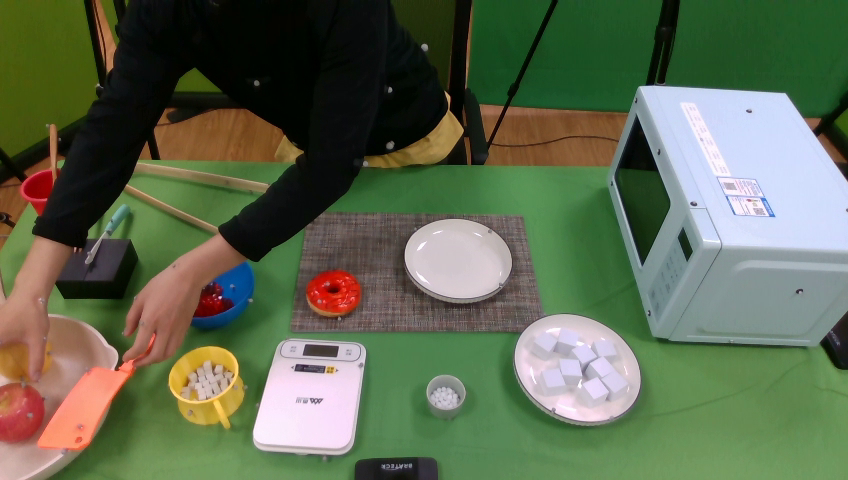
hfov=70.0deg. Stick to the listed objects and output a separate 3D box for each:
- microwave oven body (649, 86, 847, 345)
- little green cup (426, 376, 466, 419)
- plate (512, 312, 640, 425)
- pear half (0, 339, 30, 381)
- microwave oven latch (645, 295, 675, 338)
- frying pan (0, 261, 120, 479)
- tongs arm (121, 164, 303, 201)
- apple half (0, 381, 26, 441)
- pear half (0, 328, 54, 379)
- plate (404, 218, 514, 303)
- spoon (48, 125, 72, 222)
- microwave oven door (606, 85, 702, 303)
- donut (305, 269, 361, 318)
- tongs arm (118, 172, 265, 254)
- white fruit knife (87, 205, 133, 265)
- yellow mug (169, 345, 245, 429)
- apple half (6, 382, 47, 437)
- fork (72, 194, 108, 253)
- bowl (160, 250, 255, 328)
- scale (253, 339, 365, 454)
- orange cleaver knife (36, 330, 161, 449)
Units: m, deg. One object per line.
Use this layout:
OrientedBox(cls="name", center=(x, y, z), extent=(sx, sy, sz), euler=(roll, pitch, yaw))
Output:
OrientedBox(cls="microwave oven body", center=(0.567, -0.053, 1.118), extent=(0.326, 0.261, 0.439), euler=(2, 45, -1))
OrientedBox(cls="little green cup", center=(0.033, 0.248, 0.950), extent=(0.061, 0.039, 0.061), euler=(2, 46, -2))
OrientedBox(cls="plate", center=(0.246, 0.213, 0.999), extent=(0.208, 0.039, 0.206), euler=(2, 46, -2))
OrientedBox(cls="pear half", center=(-0.634, 0.187, 0.920), extent=(0.070, 0.088, 0.031), euler=(29, 51, 20))
OrientedBox(cls="microwave oven latch", center=(0.411, 0.134, 1.061), extent=(0.030, 0.029, 0.078), euler=(3, 45, 0))
OrientedBox(cls="frying pan", center=(-0.647, 0.164, 0.936), extent=(0.307, 0.103, 0.485), euler=(-19, 58, -22))
OrientedBox(cls="tongs arm", center=(-0.443, -0.114, 1.266), extent=(0.384, 0.026, 0.050), euler=(12, 50, 8))
OrientedBox(cls="apple half", center=(-0.604, 0.250, 0.871), extent=(0.053, 0.075, 0.080), euler=(-9, 50, -6))
OrientedBox(cls="pear half", center=(-0.611, 0.160, 0.931), extent=(0.076, 0.110, 0.056), euler=(30, 54, 20))
OrientedBox(cls="plate", center=(0.065, 0.042, 1.146), extent=(0.209, 0.038, 0.208), euler=(2, 46, -2))
OrientedBox(cls="spoon", center=(-0.718, -0.131, 1.188), extent=(0.041, 0.021, 0.193), euler=(-4, 90, -7))
OrientedBox(cls="microwave oven door", center=(0.422, -0.094, 1.140), extent=(0.039, 0.245, 0.353), euler=(2, 46, -1))
OrientedBox(cls="donut", center=(-0.160, 0.094, 1.075), extent=(0.099, 0.048, 0.098), euler=(4, 45, -3))
OrientedBox(cls="tongs arm", center=(-0.473, -0.054, 1.211), extent=(0.386, 0.028, 0.028), euler=(23, 56, 18))
OrientedBox(cls="white fruit knife", center=(-0.584, -0.013, 1.129), extent=(0.016, 0.027, 0.206), euler=(0, 31, -4))
OrientedBox(cls="yellow mug", center=(-0.322, 0.230, 0.922), extent=(0.100, 0.064, 0.130), euler=(-24, 53, -25))
OrientedBox(cls="apple half", center=(-0.566, 0.244, 0.877), extent=(0.033, 0.082, 0.080), euler=(-9, 47, -5))
OrientedBox(cls="fork", center=(-0.634, -0.036, 1.158), extent=(0.028, 0.019, 0.206), euler=(-8, 32, -8))
OrientedBox(cls="bowl", center=(-0.362, 0.098, 1.040), extent=(0.151, 0.077, 0.150), euler=(2, 45, -2))
OrientedBox(cls="scale", center=(-0.175, 0.236, 0.951), extent=(0.149, 0.032, 0.199), euler=(4, 45, 0))
OrientedBox(cls="orange cleaver knife", center=(-0.466, 0.210, 0.880), extent=(0.077, 0.012, 0.210), euler=(15, 46, 9))
